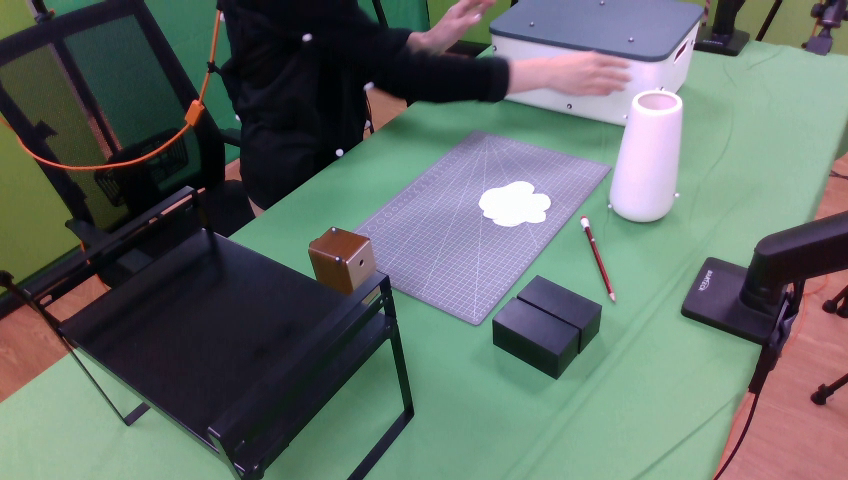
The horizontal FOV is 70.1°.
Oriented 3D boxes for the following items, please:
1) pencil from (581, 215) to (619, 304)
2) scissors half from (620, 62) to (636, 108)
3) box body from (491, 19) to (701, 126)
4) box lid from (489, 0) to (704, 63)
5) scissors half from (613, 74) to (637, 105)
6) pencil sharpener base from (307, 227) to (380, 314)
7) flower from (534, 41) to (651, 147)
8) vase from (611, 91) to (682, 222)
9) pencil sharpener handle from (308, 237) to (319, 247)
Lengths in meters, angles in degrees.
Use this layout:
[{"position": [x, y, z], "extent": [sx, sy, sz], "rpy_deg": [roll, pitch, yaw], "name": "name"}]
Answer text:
[{"position": [0.266, 0.026, 0.917], "extent": [0.012, 0.012, 0.193], "rpy_deg": [-6, 42, 1], "name": "pencil"}, {"position": [0.434, -0.340, 1.298], "extent": [0.013, 0.040, 0.174], "rpy_deg": [25, 42, -12], "name": "scissors half"}, {"position": [0.352, -0.384, 1.268], "extent": [0.361, 0.161, 0.255], "rpy_deg": [21, 48, 29], "name": "box body"}, {"position": [0.345, -0.441, 1.217], "extent": [0.369, 0.015, 0.264], "rpy_deg": [21, 49, 29], "name": "box lid"}, {"position": [0.427, -0.330, 1.306], "extent": [0.013, 0.040, 0.174], "rpy_deg": [31, 31, -14], "name": "scissors half"}, {"position": [-0.116, 0.043, 0.875], "extent": [0.076, 0.107, 0.061], "rpy_deg": [18, 47, 28], "name": "pencil sharpener base"}, {"position": [0.364, -0.319, 1.318], "extent": [0.038, 0.044, 0.359], "rpy_deg": [-4, 48, -49], "name": "flower"}, {"position": [0.348, -0.125, 0.935], "extent": [0.098, 0.201, 0.097], "rpy_deg": [-3, 40, 3], "name": "vase"}, {"position": [-0.158, 0.017, 0.892], "extent": [0.030, 0.068, 0.036], "rpy_deg": [18, 61, 28], "name": "pencil sharpener handle"}]
